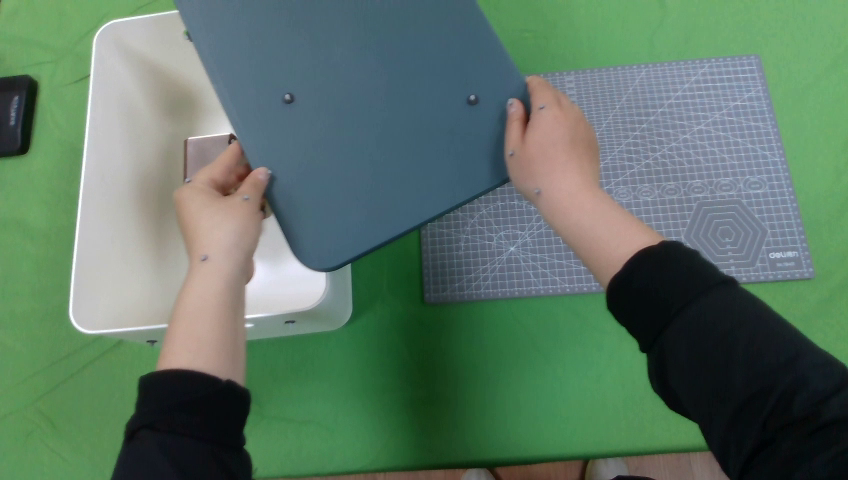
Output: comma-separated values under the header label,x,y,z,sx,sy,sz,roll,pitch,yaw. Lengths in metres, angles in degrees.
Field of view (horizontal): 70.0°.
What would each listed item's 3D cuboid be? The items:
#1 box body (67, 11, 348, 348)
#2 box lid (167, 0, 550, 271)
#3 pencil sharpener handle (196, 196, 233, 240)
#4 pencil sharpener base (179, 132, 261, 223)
label,x,y,z,sx,sy,sz,roll,pitch,yaw
box body,-0.228,-0.066,0.698,0.254,0.161,0.361,-7,72,2
box lid,-0.075,-0.179,0.581,0.263,0.015,0.369,-28,76,-5
pencil sharpener handle,-0.236,-0.024,0.694,0.036,0.068,0.030,-7,72,3
pencil sharpener base,-0.240,-0.068,0.721,0.061,0.108,0.076,-7,72,2
